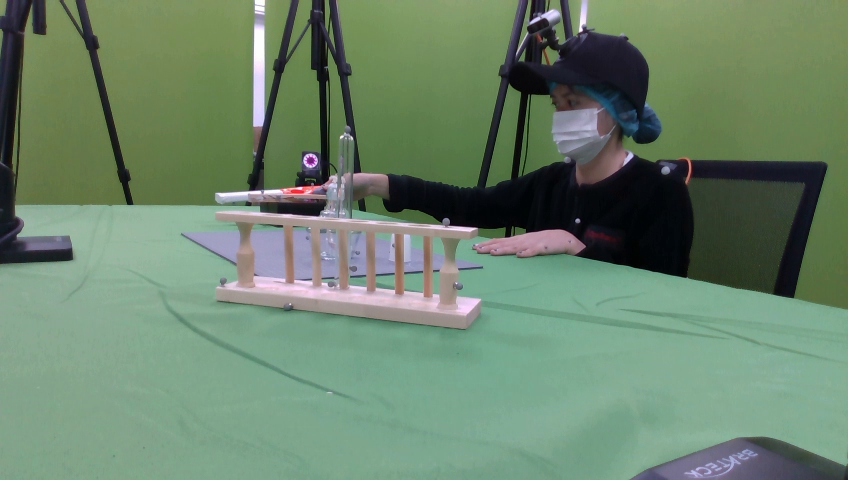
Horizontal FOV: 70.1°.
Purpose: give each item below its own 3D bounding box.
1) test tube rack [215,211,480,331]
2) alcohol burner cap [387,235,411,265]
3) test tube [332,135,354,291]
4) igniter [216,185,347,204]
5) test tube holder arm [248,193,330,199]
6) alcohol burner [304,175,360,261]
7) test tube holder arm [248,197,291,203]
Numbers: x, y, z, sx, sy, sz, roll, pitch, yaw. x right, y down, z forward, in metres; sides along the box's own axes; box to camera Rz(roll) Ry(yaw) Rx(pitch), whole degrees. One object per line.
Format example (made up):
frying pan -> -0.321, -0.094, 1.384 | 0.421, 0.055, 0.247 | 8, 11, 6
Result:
test tube rack -> -0.071, 0.023, 0.565 | 0.242, 0.085, 0.067 | 5, 7, 16
alcohol burner cap -> -0.035, 0.009, 0.839 | 0.034, 0.048, 0.034 | 2, 6, 0
test tube -> -0.078, -0.025, 0.581 | 0.017, 0.150, 0.017 | 3, 7, 0
igniter -> -0.291, -0.096, 1.267 | 0.278, 0.025, 0.057 | -7, 20, -34
test tube holder arm -> -0.268, -0.089, 1.218 | 0.179, 0.013, 0.015 | -6, 18, -40
alcohol burner -> -0.126, -0.031, 0.838 | 0.078, 0.119, 0.078 | 3, 5, 0
test tube holder arm -> -0.303, -0.080, 1.191 | 0.088, 0.010, 0.015 | -7, 18, -39
